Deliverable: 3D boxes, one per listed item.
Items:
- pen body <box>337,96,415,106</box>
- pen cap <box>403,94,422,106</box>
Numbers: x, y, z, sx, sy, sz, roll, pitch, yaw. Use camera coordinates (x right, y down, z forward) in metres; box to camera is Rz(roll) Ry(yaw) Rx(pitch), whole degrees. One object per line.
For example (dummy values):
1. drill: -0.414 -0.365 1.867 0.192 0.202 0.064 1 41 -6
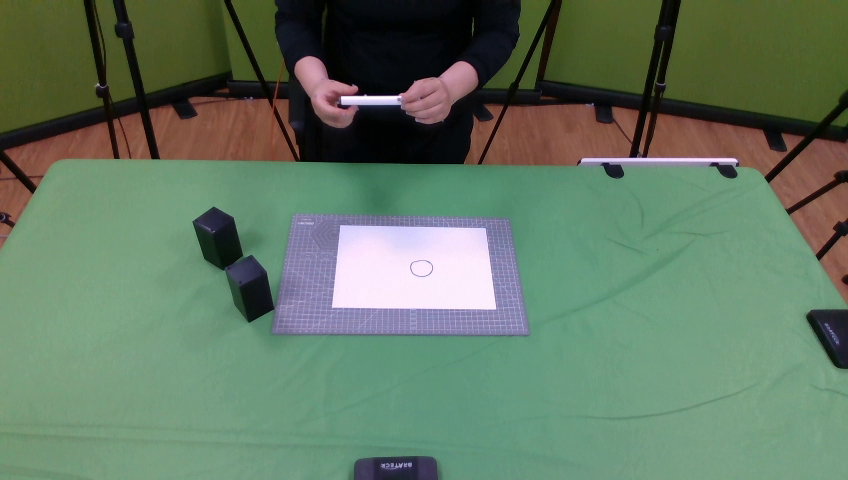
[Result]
1. pen body: -0.085 -0.254 1.103 0.144 0.017 0.017 0 46 -3
2. pen cap: -0.022 -0.257 1.110 0.038 0.017 0.017 -13 47 -3
